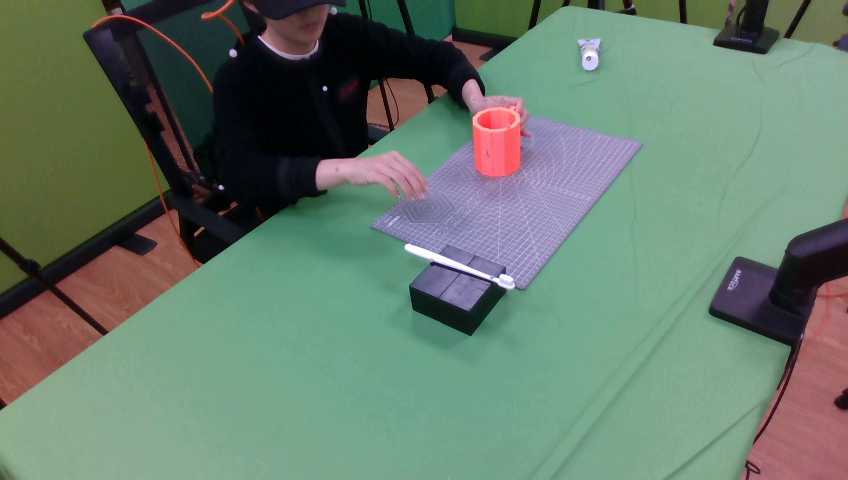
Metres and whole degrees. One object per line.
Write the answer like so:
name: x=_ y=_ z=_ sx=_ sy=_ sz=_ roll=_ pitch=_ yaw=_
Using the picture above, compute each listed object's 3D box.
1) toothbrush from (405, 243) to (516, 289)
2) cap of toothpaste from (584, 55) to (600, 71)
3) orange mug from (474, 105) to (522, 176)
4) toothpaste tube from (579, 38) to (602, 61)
toothbrush: x=0.048 y=0.034 z=0.859 sx=0.180 sy=0.017 sz=0.014 roll=19 pitch=51 yaw=28
cap of toothpaste: x=0.381 y=-0.403 z=1.372 sx=0.037 sy=0.037 sz=0.011 roll=1 pitch=38 yaw=10
orange mug: x=0.145 y=-0.192 z=1.114 sx=0.083 sy=0.101 sz=0.126 roll=18 pitch=51 yaw=27
toothpaste tube: x=0.398 y=-0.449 z=1.433 sx=0.055 sy=0.034 sz=0.164 roll=6 pitch=38 yaw=8
